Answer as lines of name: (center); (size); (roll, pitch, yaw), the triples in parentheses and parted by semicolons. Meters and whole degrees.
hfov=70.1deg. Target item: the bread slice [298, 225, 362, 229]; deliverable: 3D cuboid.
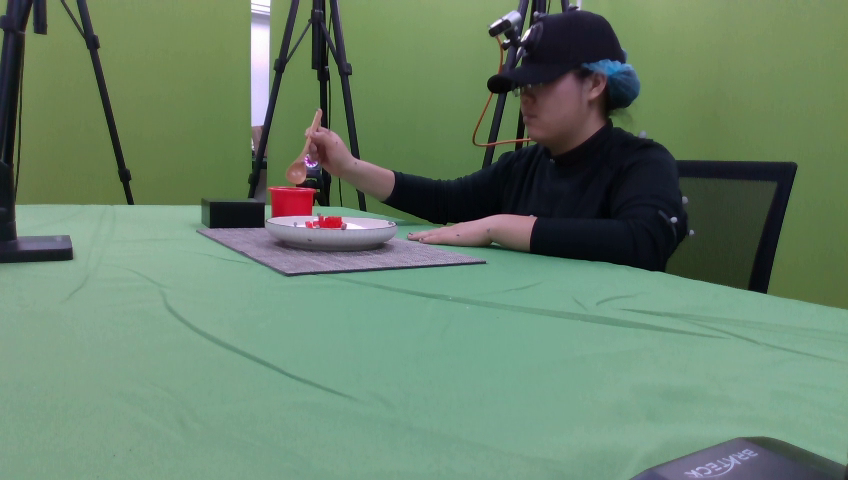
bread slice: (-0.154, -0.012, 0.973); (0.132, 0.019, 0.104); (-1, 7, -31)

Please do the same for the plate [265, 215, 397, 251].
plate: (-0.147, -0.012, 0.963); (0.209, 0.038, 0.209); (3, 7, 0)

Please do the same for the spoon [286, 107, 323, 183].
spoon: (-0.245, -0.202, 1.273); (0.042, 0.193, 0.021); (22, -22, -14)
